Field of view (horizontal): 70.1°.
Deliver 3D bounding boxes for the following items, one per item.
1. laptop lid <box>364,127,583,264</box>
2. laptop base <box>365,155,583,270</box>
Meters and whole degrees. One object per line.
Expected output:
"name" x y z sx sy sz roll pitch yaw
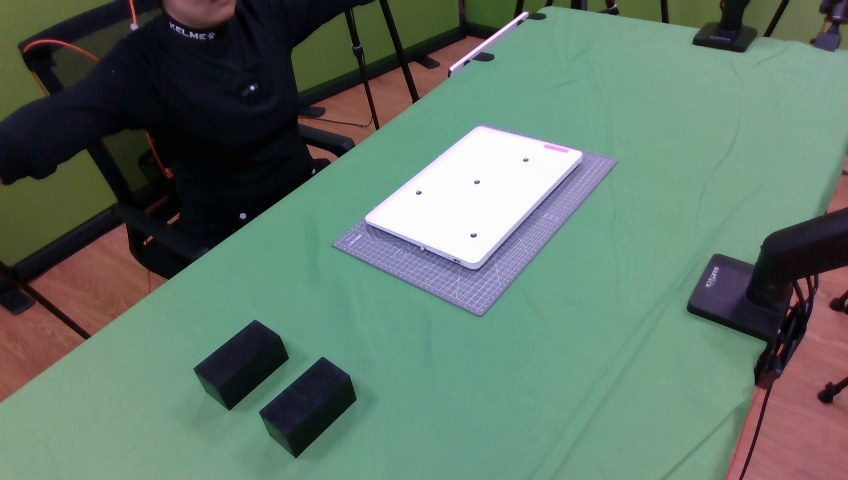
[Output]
"laptop lid" 0.092 -0.096 1.053 0.239 0.013 0.358 23 48 34
"laptop base" 0.095 -0.086 1.059 0.233 0.023 0.355 20 47 33
